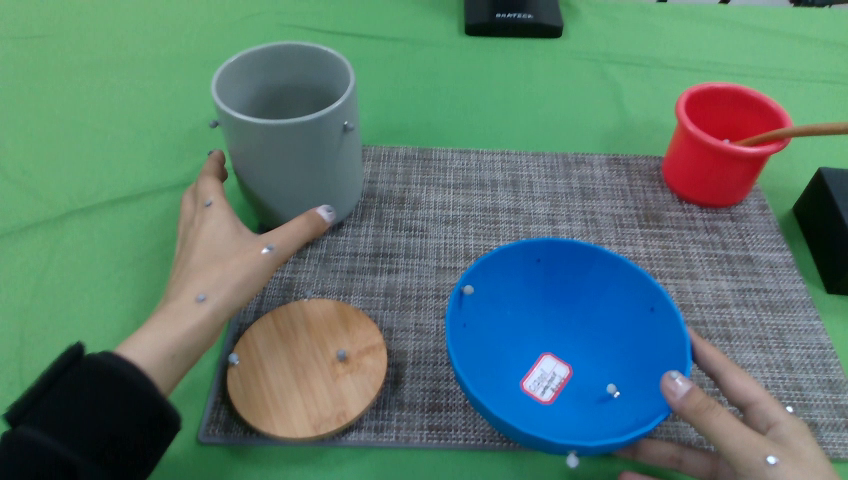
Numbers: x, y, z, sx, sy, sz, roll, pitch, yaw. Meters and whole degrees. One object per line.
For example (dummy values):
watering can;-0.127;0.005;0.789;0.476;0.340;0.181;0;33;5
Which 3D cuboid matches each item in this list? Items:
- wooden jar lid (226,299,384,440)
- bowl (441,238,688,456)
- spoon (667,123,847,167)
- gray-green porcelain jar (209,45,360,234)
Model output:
wooden jar lid;-0.082;0.090;0.424;0.108;0.021;0.107;1;48;0
bowl;0.084;0.079;0.400;0.151;0.077;0.150;1;49;-1
spoon;0.288;-0.082;0.505;0.041;0.193;0.022;-32;103;-24
gray-green porcelain jar;-0.107;-0.076;0.497;0.106;0.127;0.105;1;49;-1
